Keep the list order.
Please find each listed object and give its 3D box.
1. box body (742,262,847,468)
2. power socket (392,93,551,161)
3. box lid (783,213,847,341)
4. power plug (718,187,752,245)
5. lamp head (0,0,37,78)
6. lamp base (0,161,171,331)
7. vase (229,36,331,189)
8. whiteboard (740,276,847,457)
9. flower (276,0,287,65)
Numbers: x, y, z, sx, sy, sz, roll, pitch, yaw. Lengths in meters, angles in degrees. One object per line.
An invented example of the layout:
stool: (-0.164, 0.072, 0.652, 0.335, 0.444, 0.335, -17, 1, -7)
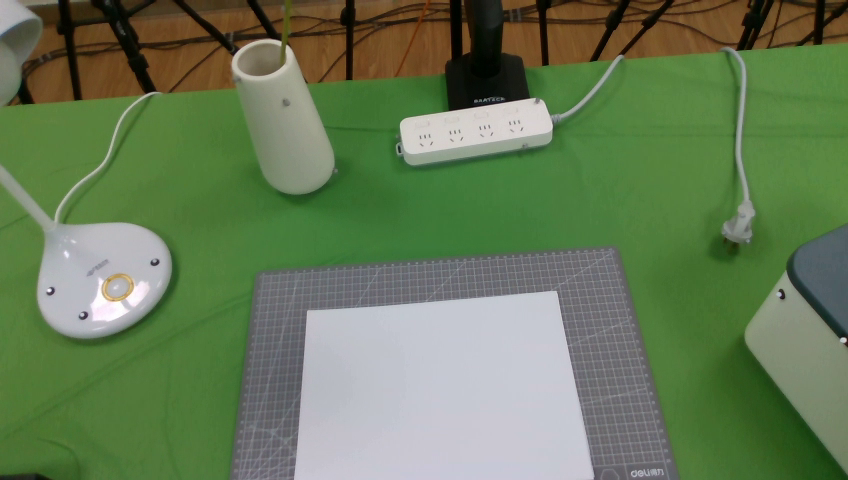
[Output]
box body: (0.516, 0.140, 0.551, 0.254, 0.162, 0.360, -22, 59, -11)
power socket: (0.067, -0.159, 0.847, 0.227, 0.033, 0.071, -9, 58, -3)
box lid: (0.511, 0.097, 0.489, 0.263, 0.015, 0.367, -23, 59, -10)
power plug: (0.385, -0.026, 0.741, 0.035, 0.053, 0.072, 34, 44, 26)
lamp head: (-0.375, -0.165, 0.442, 0.124, 0.112, 0.112, 38, 59, -19)
lamp base: (-0.409, -0.008, 0.688, 0.178, 0.182, 0.160, 24, 61, 21)
vase: (-0.180, -0.153, 0.758, 0.098, 0.202, 0.097, -2, 57, 4)
whiteboard: (0.514, 0.136, 0.569, 0.217, 0.145, 0.302, -22, 58, -14)
flower: (-0.164, -0.192, 0.684, 0.038, 0.363, 0.044, 43, 59, 7)
